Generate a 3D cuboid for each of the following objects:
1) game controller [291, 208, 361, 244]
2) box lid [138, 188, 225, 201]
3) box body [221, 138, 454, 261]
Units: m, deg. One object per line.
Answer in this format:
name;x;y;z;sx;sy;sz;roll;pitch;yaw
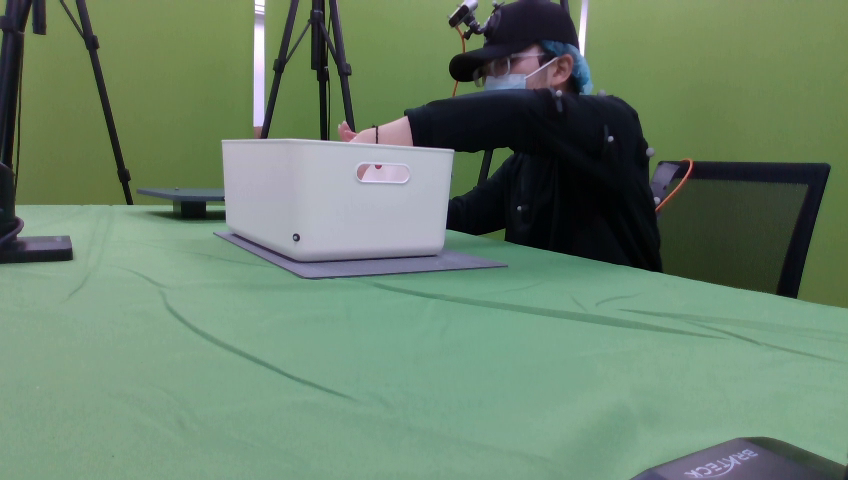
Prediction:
game controller;-0.160;-0.024;0.967;0.097;0.051;0.154;-5;8;-15
box lid;-0.433;-0.105;1.395;0.374;0.015;0.262;-5;10;-44
box body;-0.151;-0.074;0.963;0.255;0.160;0.362;-3;9;-33
